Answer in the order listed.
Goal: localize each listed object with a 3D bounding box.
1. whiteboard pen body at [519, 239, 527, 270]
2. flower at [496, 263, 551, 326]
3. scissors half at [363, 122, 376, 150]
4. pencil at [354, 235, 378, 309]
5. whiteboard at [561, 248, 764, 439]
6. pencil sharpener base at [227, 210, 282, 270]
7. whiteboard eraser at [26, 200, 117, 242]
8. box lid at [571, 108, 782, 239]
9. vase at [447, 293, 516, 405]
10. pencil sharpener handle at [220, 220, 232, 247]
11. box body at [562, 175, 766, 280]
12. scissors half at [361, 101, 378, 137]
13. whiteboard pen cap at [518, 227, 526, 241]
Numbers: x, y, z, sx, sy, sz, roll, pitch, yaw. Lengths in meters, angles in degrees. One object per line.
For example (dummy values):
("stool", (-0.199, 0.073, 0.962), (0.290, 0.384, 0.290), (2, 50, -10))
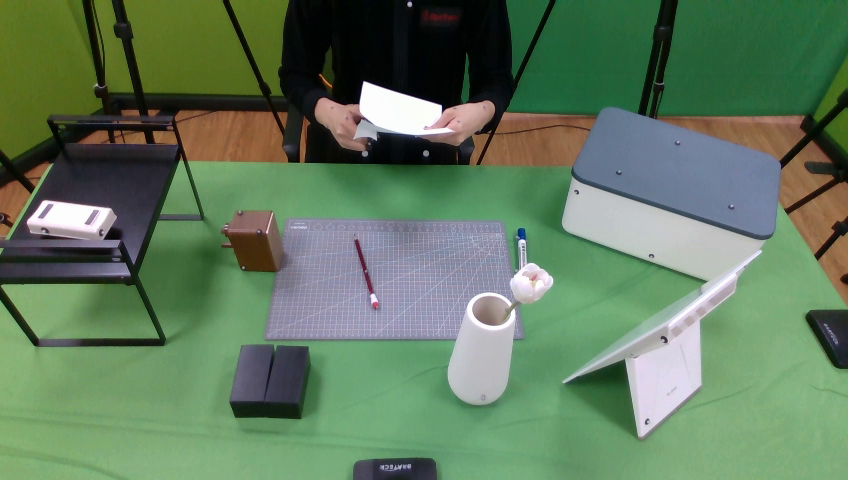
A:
("whiteboard pen body", (0.193, 0.035, 1.181), (0.017, 0.017, 0.140), (6, 48, 1))
("flower", (0.102, 0.121, 0.853), (0.044, 0.363, 0.038), (-2, 64, -10))
("scissors half", (-0.092, -0.183, 1.045), (0.013, 0.175, 0.040), (-5, 92, -10))
("pencil", (-0.112, 0.055, 1.143), (0.012, 0.012, 0.192), (-10, 46, -13))
("whiteboard", (0.386, 0.176, 0.905), (0.217, 0.306, 0.143), (-26, 72, -27))
("pencil sharpener base", (-0.311, 0.001, 1.112), (0.077, 0.107, 0.061), (1, 47, 1))
("whiteboard eraser", (-0.532, -0.026, 0.919), (0.113, 0.042, 0.055), (7, 45, 3))
("box lid", (0.491, -0.139, 1.168), (0.370, 0.015, 0.262), (21, 49, 15))
("vase", (0.091, 0.169, 0.921), (0.098, 0.201, 0.097), (3, 47, -3))
("pencil sharpener handle", (-0.362, -0.009, 1.105), (0.030, 0.068, 0.036), (1, 52, 1))
("box body", (0.486, -0.088, 1.222), (0.363, 0.161, 0.253), (20, 48, 15))
("scissors half", (-0.094, -0.205, 1.040), (0.013, 0.040, 0.174), (-10, 30, -9))
("whiteboard pen cap", (0.197, -0.009, 1.220), (0.018, 0.018, 0.033), (5, 51, 1))
